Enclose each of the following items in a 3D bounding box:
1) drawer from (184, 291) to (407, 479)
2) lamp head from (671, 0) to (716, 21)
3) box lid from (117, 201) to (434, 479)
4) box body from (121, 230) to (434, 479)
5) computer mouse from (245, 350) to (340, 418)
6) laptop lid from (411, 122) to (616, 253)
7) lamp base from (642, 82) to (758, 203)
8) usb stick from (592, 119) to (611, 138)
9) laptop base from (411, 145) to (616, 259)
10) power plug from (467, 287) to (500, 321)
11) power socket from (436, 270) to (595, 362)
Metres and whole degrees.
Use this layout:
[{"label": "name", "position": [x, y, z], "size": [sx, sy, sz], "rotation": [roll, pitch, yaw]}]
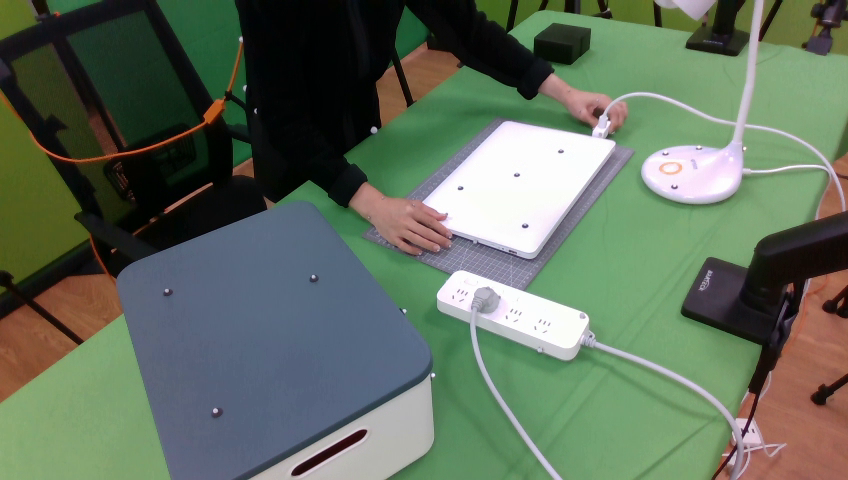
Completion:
[{"label": "drawer", "position": [-0.155, 0.179, 0.719], "size": [0.195, 0.073, 0.210], "rotation": [-27, 40, -21]}, {"label": "lamp head", "position": [0.375, -0.373, 0.807], "size": [0.122, 0.113, 0.112], "rotation": [-40, 27, 32]}, {"label": "box lid", "position": [-0.182, 0.087, 0.675], "size": [0.264, 0.015, 0.368], "rotation": [-25, 42, -20]}, {"label": "box body", "position": [-0.175, 0.142, 0.725], "size": [0.255, 0.161, 0.360], "rotation": [-25, 43, -20]}, {"label": "computer mouse", "position": [-0.165, 0.173, 0.754], "size": [0.118, 0.041, 0.062], "rotation": [-18, 34, -18]}, {"label": "laptop lid", "position": [0.164, -0.111, 1.067], "size": [0.240, 0.013, 0.357], "rotation": [19, 46, 31]}, {"label": "lamp base", "position": [0.464, -0.174, 0.992], "size": [0.179, 0.181, 0.159], "rotation": [-5, 41, -1]}, {"label": "usb stick", "position": [0.335, -0.203, 1.149], "size": [0.021, 0.027, 0.059], "rotation": [22, 53, 22]}, {"label": "laptop base", "position": [0.168, -0.101, 1.074], "size": [0.234, 0.023, 0.355], "rotation": [17, 46, 30]}, {"label": "power plug", "position": [0.073, 0.092, 0.814], "size": [0.035, 0.053, 0.073], "rotation": [29, 54, 34]}, {"label": "power socket", "position": [0.118, 0.101, 0.832], "size": [0.225, 0.033, 0.072], "rotation": [19, 48, 27]}]
